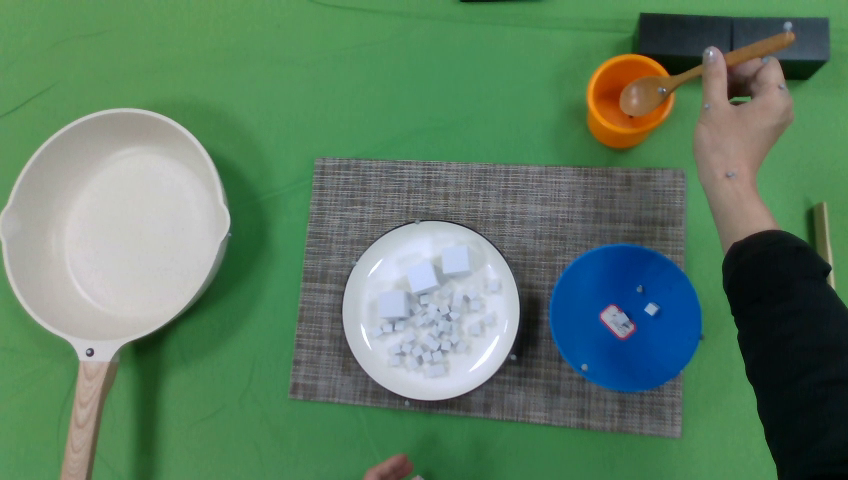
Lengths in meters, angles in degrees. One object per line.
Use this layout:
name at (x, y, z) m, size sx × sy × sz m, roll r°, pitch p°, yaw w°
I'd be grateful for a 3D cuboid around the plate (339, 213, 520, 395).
plate at (0.006, 0.072, 0.703) m, size 0.207 × 0.039 × 0.207 m, roll -1°, pitch 81°, yaw 8°

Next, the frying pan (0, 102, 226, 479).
frying pan at (-0.386, 0.076, 0.727) m, size 0.306 × 0.103 × 0.485 m, roll 1°, pitch 73°, yaw 9°

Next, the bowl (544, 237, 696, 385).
bowl at (0.204, 0.077, 0.653) m, size 0.151 × 0.077 × 0.151 m, roll -1°, pitch 81°, yaw 8°

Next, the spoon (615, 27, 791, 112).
spoon at (0.255, -0.162, 0.578) m, size 0.022 × 0.193 × 0.041 m, roll 1°, pitch 87°, yaw -22°

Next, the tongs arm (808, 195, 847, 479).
tongs arm at (0.438, 0.142, 0.641) m, size 0.028 × 0.028 × 0.386 m, roll -2°, pitch 81°, yaw 6°
